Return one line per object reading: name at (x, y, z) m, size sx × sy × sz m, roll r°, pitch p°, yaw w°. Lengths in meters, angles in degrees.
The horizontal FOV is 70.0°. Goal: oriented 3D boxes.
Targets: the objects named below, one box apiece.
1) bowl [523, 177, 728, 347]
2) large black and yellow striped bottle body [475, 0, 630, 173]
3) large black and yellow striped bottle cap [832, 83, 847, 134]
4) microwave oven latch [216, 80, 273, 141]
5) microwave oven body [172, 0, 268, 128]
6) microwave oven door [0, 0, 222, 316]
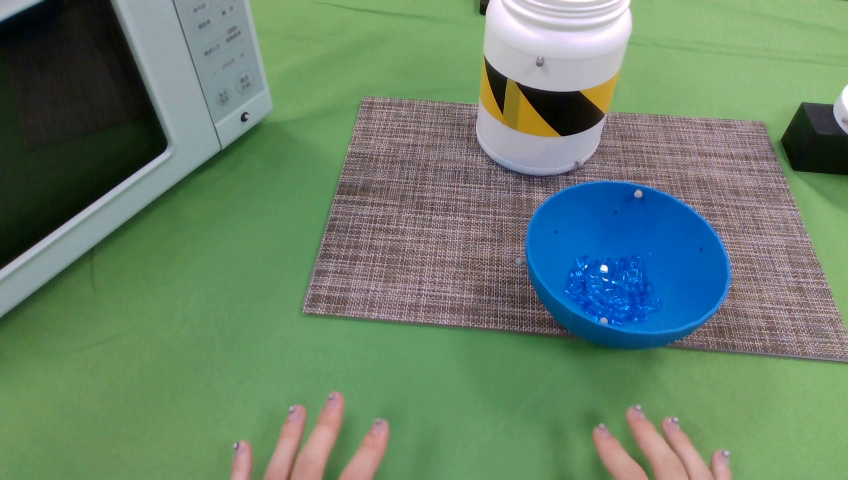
bowl at (0.149, 0.029, 0.482) m, size 0.151 × 0.077 × 0.150 m, roll 0°, pitch 50°, yaw 0°
large black and yellow striped bottle body at (0.119, -0.171, 0.581) m, size 0.131 × 0.185 × 0.129 m, roll 1°, pitch 50°, yaw 0°
large black and yellow striped bottle cap at (0.466, -0.122, 0.593) m, size 0.115 × 0.019 × 0.114 m, roll 0°, pitch 49°, yaw 1°
microwave oven latch at (-0.191, -0.137, 0.625) m, size 0.030 × 0.030 × 0.079 m, roll 29°, pitch 56°, yaw 21°
microwave oven body at (-0.412, -0.149, 0.505) m, size 0.324 × 0.262 × 0.440 m, roll 27°, pitch 55°, yaw 20°
microwave oven door at (-0.313, -0.064, 0.428) m, size 0.039 × 0.246 × 0.354 m, roll 27°, pitch 55°, yaw 21°
